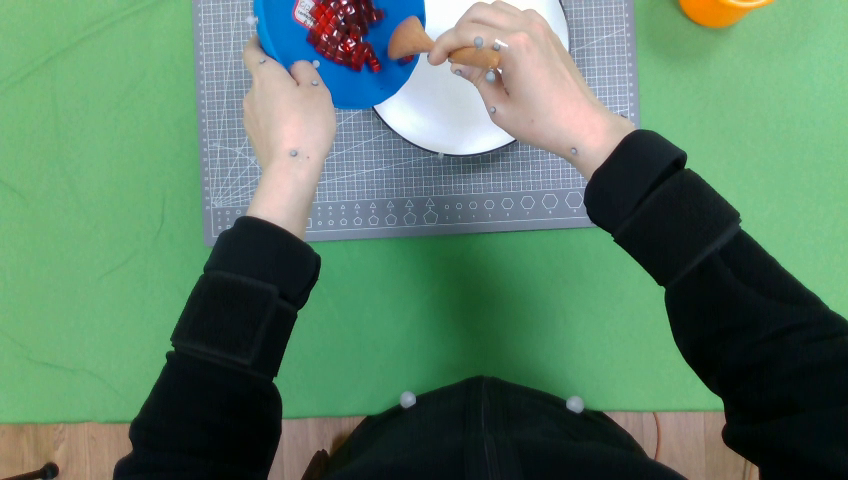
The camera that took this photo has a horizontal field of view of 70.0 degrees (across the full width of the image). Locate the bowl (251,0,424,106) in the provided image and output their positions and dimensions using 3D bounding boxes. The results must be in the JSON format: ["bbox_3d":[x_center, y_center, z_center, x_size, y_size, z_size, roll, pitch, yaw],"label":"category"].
[{"bbox_3d":[-0.083,-0.191,0.509,0.152,0.076,0.152,-12,110,-36],"label":"bowl"}]

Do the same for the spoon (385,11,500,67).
[{"bbox_3d":[0.010,-0.147,0.452,0.022,0.191,0.041,29,97,-35],"label":"spoon"}]

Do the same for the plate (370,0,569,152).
[{"bbox_3d":[0.036,-0.189,0.599,0.209,0.038,0.209,0,90,3],"label":"plate"}]
